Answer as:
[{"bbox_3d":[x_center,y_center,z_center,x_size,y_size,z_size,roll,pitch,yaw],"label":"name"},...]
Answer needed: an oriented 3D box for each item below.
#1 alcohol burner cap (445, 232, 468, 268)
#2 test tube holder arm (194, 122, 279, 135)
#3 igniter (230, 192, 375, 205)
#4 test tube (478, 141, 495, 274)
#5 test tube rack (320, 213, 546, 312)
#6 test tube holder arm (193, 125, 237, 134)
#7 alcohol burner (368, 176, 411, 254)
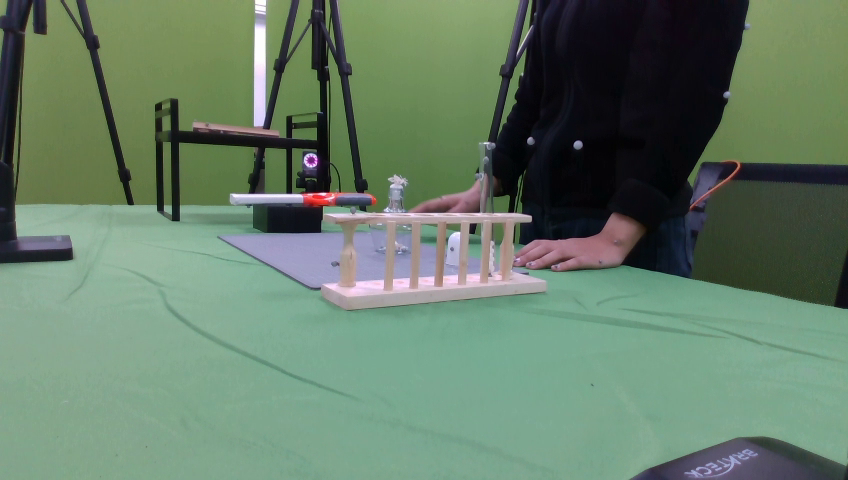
[{"bbox_3d":[0.045,0.013,0.829,0.034,0.048,0.034,3,8,0],"label":"alcohol burner cap"},{"bbox_3d":[-0.401,-0.238,1.301,0.179,0.015,0.013,-2,-21,-29],"label":"test tube holder arm"},{"bbox_3d":[-0.226,-0.079,1.161,0.278,0.025,0.057,-2,15,-28],"label":"igniter"},{"bbox_3d":[0.071,-0.036,0.683,0.017,0.150,0.017,-2,8,1],"label":"test tube"},{"bbox_3d":[0.017,0.017,0.638,0.244,0.085,0.066,-2,9,-31],"label":"test tube rack"},{"bbox_3d":[-0.443,-0.235,1.284,0.088,0.015,0.010,-2,-21,-28],"label":"test tube holder arm"},{"bbox_3d":[-0.045,-0.038,0.913,0.078,0.119,0.078,4,8,0],"label":"alcohol burner"}]
